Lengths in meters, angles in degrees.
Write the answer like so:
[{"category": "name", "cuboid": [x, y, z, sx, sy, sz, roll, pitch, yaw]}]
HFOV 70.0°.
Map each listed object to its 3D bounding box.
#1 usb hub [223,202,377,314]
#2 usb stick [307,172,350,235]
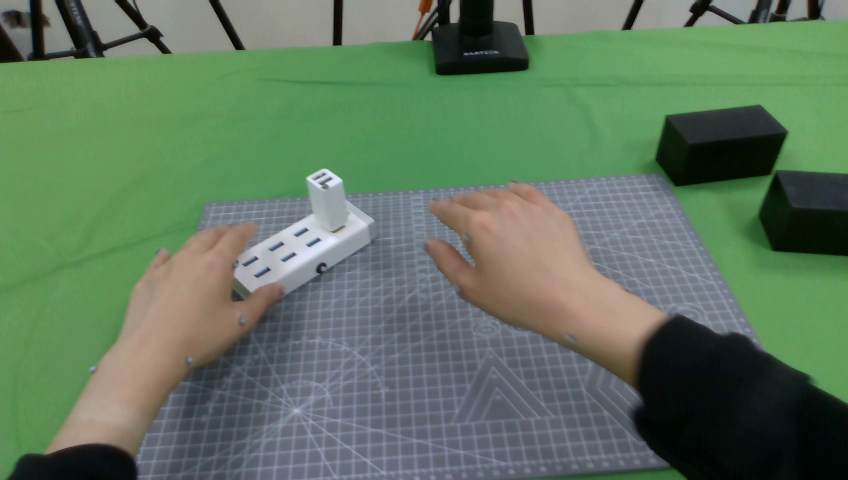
[{"category": "usb hub", "cuboid": [-0.104, 0.011, 0.520, 0.125, 0.025, 0.049, -33, 50, -29]}, {"category": "usb stick", "cuboid": [-0.079, -0.026, 0.512, 0.021, 0.060, 0.027, -35, 48, -30]}]
